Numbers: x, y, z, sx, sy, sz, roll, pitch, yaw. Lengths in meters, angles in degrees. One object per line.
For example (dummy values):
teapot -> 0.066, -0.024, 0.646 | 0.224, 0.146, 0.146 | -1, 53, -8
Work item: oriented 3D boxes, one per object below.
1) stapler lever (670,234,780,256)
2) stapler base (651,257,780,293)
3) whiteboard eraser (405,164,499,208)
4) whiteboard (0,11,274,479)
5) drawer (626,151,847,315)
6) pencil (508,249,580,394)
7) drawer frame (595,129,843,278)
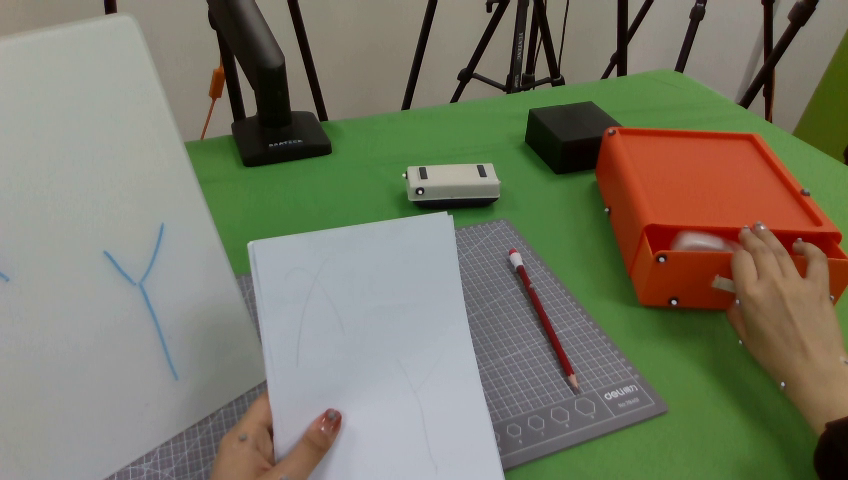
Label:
stapler lever -> 0.309, 0.016, 0.613 | 0.118, 0.040, 0.026 | 2, 53, -2
stapler base -> 0.307, 0.033, 0.634 | 0.130, 0.024, 0.041 | 1, 53, -1
whiteboard eraser -> 0.034, -0.066, 0.748 | 0.113, 0.042, 0.055 | -2, 39, -6
whiteboard -> -0.282, 0.015, 0.453 | 0.217, 0.307, 0.142 | -29, 28, -33
drawer -> 0.317, -0.017, 0.665 | 0.194, 0.074, 0.210 | 2, 38, 2
pencil -> 0.115, 0.072, 0.592 | 0.012, 0.012, 0.192 | -6, 40, -10
drawer frame -> 0.318, -0.043, 0.699 | 0.202, 0.083, 0.211 | 2, 37, 0
